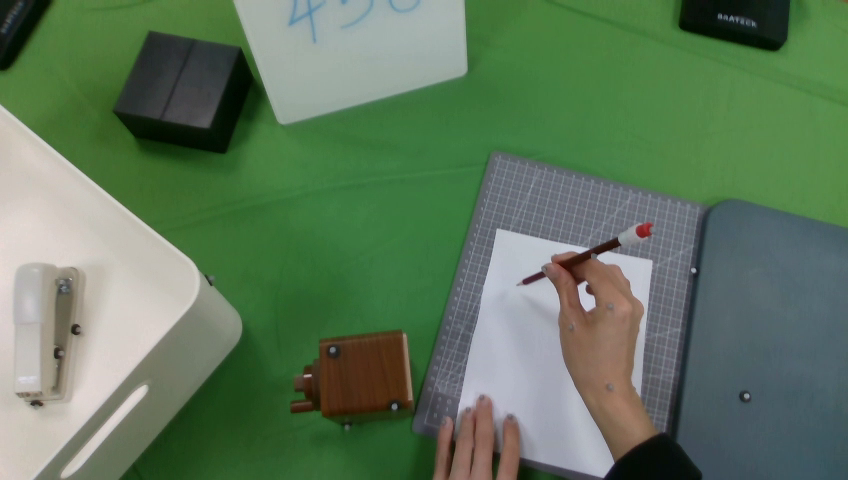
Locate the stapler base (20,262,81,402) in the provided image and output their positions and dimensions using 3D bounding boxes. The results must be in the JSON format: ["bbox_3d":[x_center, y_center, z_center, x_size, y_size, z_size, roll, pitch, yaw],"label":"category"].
[{"bbox_3d":[-0.346,0.080,0.554,0.041,0.024,0.129,-5,73,-1],"label":"stapler base"}]

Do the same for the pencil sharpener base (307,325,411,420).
[{"bbox_3d":[-0.052,0.115,0.512,0.077,0.107,0.061,-6,71,-3],"label":"pencil sharpener base"}]

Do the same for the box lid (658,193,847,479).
[{"bbox_3d":[0.364,0.144,0.563,0.263,0.015,0.369,15,71,3],"label":"box lid"}]

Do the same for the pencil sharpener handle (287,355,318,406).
[{"bbox_3d":[-0.103,0.120,0.496,0.031,0.068,0.035,-6,55,-3],"label":"pencil sharpener handle"}]

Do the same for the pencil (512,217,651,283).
[{"bbox_3d":[0.117,0.014,0.495,0.012,0.194,0.012,6,72,-19],"label":"pencil"}]

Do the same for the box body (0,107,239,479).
[{"bbox_3d":[-0.370,0.043,0.500,0.362,0.161,0.253,36,74,10],"label":"box body"}]

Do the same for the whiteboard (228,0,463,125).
[{"bbox_3d":[-0.092,-0.300,0.583,0.217,0.308,0.142,-17,52,-7],"label":"whiteboard"}]

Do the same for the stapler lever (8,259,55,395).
[{"bbox_3d":[-0.345,0.074,0.530,0.027,0.040,0.117,-5,73,-1],"label":"stapler lever"}]
